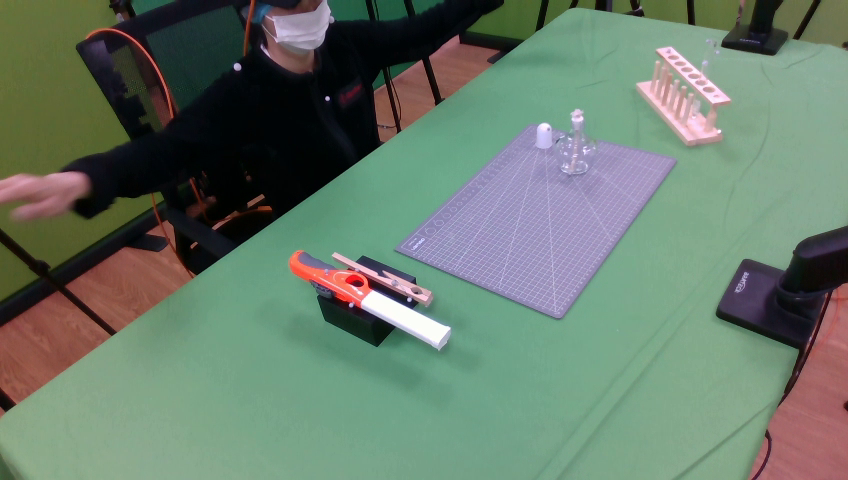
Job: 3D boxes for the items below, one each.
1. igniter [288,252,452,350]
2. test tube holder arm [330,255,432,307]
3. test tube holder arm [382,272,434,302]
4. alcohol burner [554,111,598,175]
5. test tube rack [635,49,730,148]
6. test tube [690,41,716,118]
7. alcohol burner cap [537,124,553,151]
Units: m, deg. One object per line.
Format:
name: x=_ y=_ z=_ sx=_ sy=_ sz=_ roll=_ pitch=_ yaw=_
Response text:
igniter: x=-0.084 y=0.077 z=0.821 sx=0.274 sy=0.025 sz=0.057 roll=23 pitch=48 yaw=27
test tube holder arm: x=-0.064 y=0.055 z=0.848 sx=0.177 sy=0.015 sz=0.013 roll=20 pitch=54 yaw=29
test tube holder arm: x=-0.024 y=0.065 z=0.829 sx=0.087 sy=0.015 sz=0.010 roll=21 pitch=54 yaw=30
alcohol burner: x=0.270 y=-0.175 z=1.066 sx=0.078 sy=0.119 sz=0.077 roll=-4 pitch=42 yaw=4
test tube rack: x=0.497 y=-0.283 z=1.185 sx=0.067 sy=0.085 sz=0.240 roll=-10 pitch=40 yaw=-2
test tube: x=0.514 y=-0.293 z=1.117 sx=0.017 sy=0.151 sz=0.017 roll=-3 pitch=42 yaw=3
alcohol burner cap: x=0.232 y=-0.199 z=1.158 sx=0.034 sy=0.048 sz=0.033 roll=-5 pitch=40 yaw=5
